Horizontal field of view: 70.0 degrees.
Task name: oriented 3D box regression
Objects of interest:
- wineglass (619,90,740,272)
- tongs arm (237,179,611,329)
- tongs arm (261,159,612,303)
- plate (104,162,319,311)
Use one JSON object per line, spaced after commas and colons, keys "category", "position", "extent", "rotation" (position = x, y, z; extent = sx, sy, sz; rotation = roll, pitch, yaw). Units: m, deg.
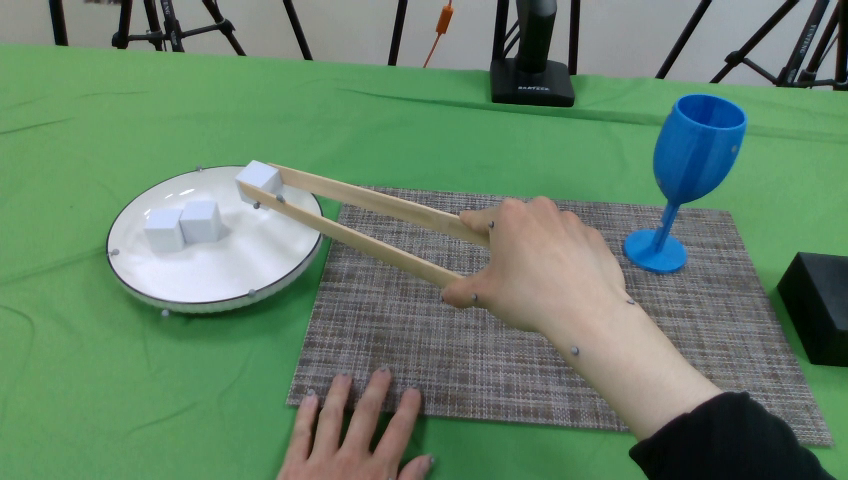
{"category": "wineglass", "position": [0.245, -0.055, 0.595], "extent": [0.074, 0.174, 0.073], "rotation": [1, 43, -1]}
{"category": "tongs arm", "position": [-0.029, -0.006, 0.516], "extent": [0.381, 0.027, 0.050], "rotation": [23, 54, 36]}
{"category": "tongs arm", "position": [-0.015, -0.021, 0.528], "extent": [0.384, 0.028, 0.028], "rotation": [19, 49, 33]}
{"category": "plate", "position": [-0.210, -0.004, 0.619], "extent": [0.209, 0.038, 0.207], "rotation": [2, 43, -1]}
